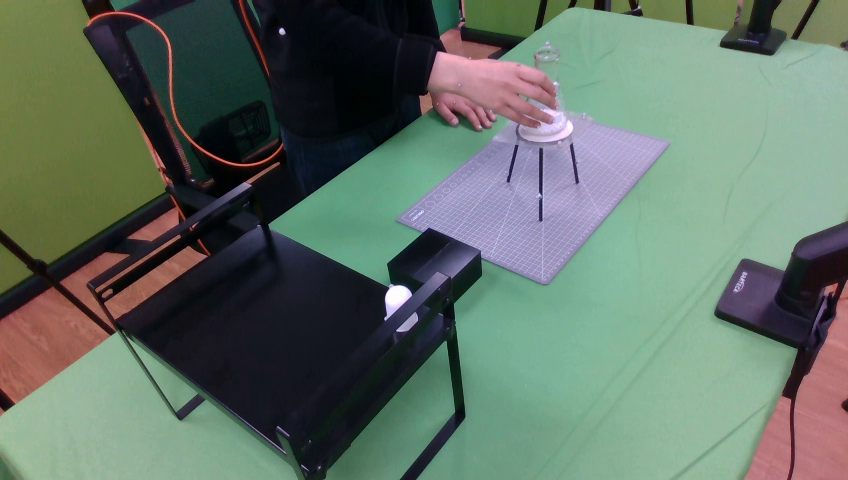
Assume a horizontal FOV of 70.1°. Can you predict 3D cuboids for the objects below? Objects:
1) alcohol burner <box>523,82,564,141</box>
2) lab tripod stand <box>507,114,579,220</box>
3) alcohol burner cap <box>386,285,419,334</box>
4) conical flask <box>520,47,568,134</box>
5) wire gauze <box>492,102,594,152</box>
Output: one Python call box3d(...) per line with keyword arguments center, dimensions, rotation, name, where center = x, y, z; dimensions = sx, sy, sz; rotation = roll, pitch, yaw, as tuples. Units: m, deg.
box3d(center=(0.230, -0.251, 1.161), dimensions=(0.078, 0.119, 0.077), rotation=(-4, 43, 4), name="alcohol burner")
box3d(center=(0.199, -0.128, 1.005), dimensions=(0.148, 0.132, 0.147), rotation=(-3, 42, 3), name="lab tripod stand")
box3d(center=(-0.024, 0.067, 0.604), dimensions=(0.034, 0.048, 0.033), rotation=(-4, 39, 4), name="alcohol burner cap")
box3d(center=(0.185, -0.229, 0.924), dimensions=(0.075, 0.122, 0.075), rotation=(-4, 41, 4), name="conical flask")
box3d(center=(0.191, -0.180, 0.964), dimensions=(0.120, 0.011, 0.125), rotation=(19, 48, 28), name="wire gauze")
